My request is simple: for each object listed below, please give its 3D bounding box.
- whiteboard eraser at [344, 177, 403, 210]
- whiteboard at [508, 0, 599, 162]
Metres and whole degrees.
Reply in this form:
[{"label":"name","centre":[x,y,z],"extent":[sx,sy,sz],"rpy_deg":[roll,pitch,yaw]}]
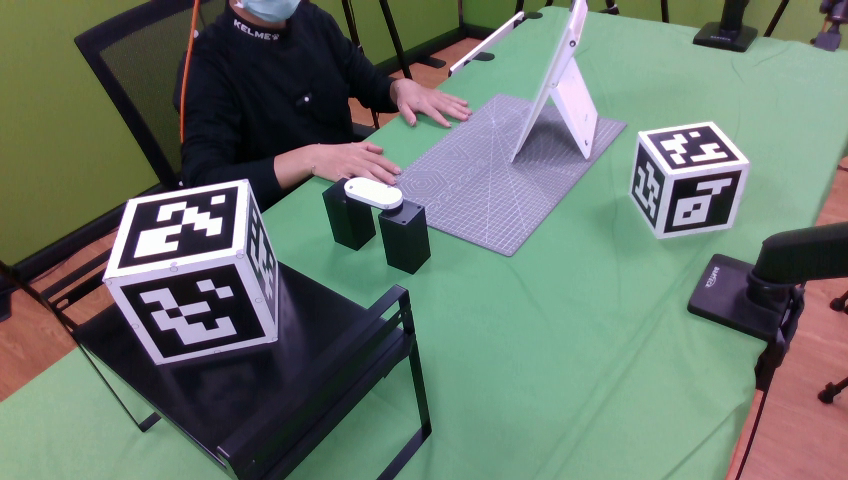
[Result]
[{"label":"whiteboard eraser","centre":[-0.077,-0.071,0.911],"extent":[0.100,0.019,0.041],"rpy_deg":[20,50,29]},{"label":"whiteboard","centre":[0.285,-0.289,1.090],"extent":[0.144,0.305,0.217],"rpy_deg":[22,45,3]}]
